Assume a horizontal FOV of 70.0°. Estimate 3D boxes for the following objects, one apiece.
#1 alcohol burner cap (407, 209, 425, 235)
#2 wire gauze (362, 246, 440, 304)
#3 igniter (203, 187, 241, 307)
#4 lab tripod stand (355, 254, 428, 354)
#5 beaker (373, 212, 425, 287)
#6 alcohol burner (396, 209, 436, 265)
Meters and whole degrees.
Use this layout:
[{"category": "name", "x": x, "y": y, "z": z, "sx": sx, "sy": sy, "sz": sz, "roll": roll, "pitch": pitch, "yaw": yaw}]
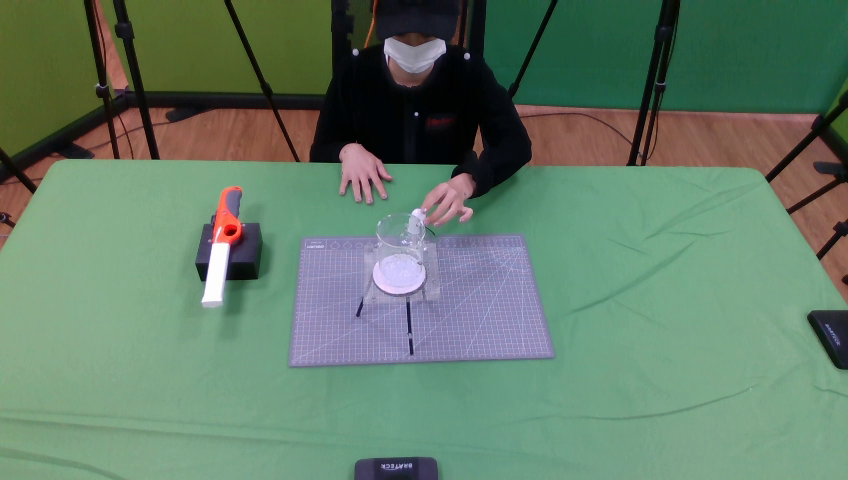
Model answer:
[{"category": "alcohol burner cap", "x": -0.014, "y": -0.036, "z": 1.115, "sx": 0.034, "sy": 0.048, "sz": 0.033, "roll": 5, "pitch": 43, "yaw": -4}, {"category": "wire gauze", "x": -0.038, "y": 0.052, "z": 0.972, "sx": 0.121, "sy": 0.011, "sz": 0.124, "roll": 0, "pitch": 44, "yaw": -5}, {"category": "igniter", "x": -0.365, "y": 0.003, "z": 1.098, "sx": 0.057, "sy": 0.025, "sz": 0.274, "roll": -1, "pitch": 49, "yaw": -7}, {"category": "lab tripod stand", "x": -0.046, "y": 0.100, "z": 1.017, "sx": 0.148, "sy": 0.132, "sz": 0.147, "roll": 1, "pitch": 47, "yaw": -1}, {"category": "beaker", "x": -0.036, "y": 0.019, "z": 0.936, "sx": 0.074, "sy": 0.101, "sz": 0.083, "roll": -29, "pitch": 54, "yaw": -26}, {"category": "alcohol burner", "x": -0.015, "y": -0.011, "z": 1.141, "sx": 0.078, "sy": 0.120, "sz": 0.077, "roll": 2, "pitch": 44, "yaw": -1}]
